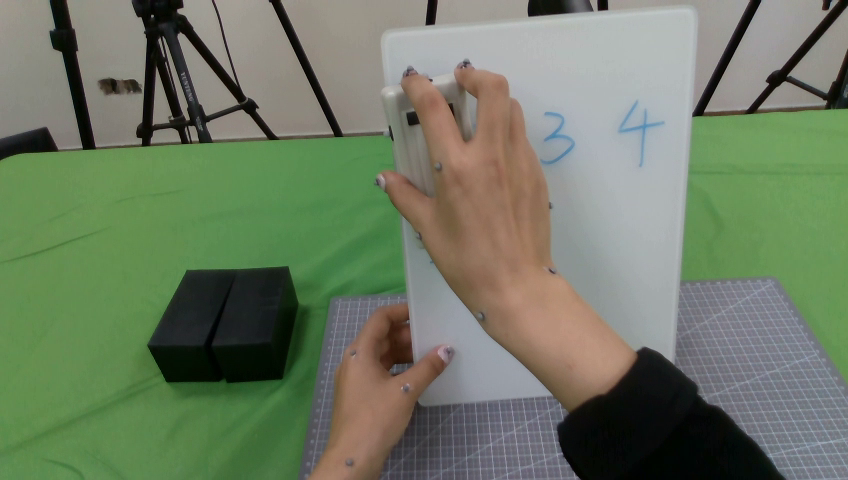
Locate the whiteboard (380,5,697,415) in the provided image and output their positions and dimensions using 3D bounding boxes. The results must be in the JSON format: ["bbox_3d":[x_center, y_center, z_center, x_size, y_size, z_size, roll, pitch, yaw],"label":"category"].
[{"bbox_3d":[0.089,-0.028,0.520,0.217,0.307,0.143,-4,19,1],"label":"whiteboard"}]

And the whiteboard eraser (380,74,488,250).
[{"bbox_3d":[0.008,-0.053,0.417,0.055,0.113,0.041,-14,20,-6],"label":"whiteboard eraser"}]
